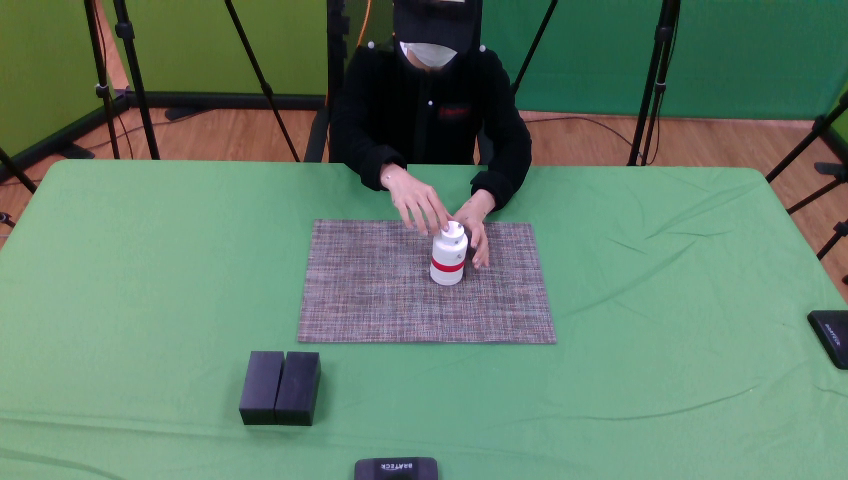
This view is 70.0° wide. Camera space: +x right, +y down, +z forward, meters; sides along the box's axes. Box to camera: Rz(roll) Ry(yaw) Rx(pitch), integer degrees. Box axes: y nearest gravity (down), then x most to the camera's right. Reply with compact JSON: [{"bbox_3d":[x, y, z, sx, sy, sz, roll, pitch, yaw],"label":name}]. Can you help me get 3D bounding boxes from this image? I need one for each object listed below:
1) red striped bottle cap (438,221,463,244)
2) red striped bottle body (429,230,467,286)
[{"bbox_3d":[0.047,-0.013,1.067,0.044,0.018,0.044,3,43,-3],"label":"red striped bottle cap"},{"bbox_3d":[0.044,0.024,1.105,0.063,0.120,0.062,3,45,-3],"label":"red striped bottle body"}]
